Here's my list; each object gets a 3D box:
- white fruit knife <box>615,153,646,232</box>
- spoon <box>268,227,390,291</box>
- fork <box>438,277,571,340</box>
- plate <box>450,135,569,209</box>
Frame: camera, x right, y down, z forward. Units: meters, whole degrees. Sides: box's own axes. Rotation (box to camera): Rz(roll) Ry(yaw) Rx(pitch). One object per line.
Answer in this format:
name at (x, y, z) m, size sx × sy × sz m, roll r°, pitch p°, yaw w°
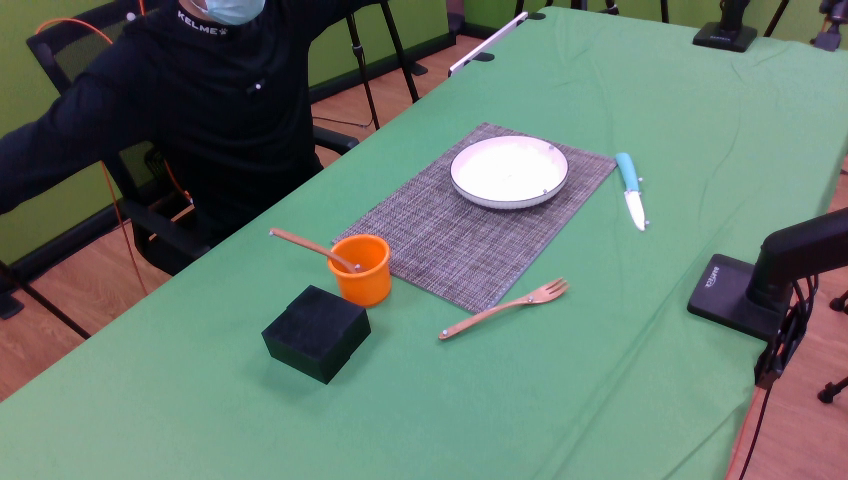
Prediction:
white fruit knife at (0.352, -0.084, 1.023) m, size 0.027 × 0.016 × 0.206 m, roll -19°, pitch 40°, yaw 23°
spoon at (-0.132, 0.025, 0.862) m, size 0.021 × 0.195 × 0.041 m, roll -40°, pitch 31°, yaw 32°
fork at (0.113, 0.096, 0.843) m, size 0.208 × 0.019 × 0.028 m, roll -19°, pitch 48°, yaw -16°
plate at (0.149, -0.117, 1.066) m, size 0.209 × 0.038 × 0.208 m, roll -4°, pitch 41°, yaw 4°
